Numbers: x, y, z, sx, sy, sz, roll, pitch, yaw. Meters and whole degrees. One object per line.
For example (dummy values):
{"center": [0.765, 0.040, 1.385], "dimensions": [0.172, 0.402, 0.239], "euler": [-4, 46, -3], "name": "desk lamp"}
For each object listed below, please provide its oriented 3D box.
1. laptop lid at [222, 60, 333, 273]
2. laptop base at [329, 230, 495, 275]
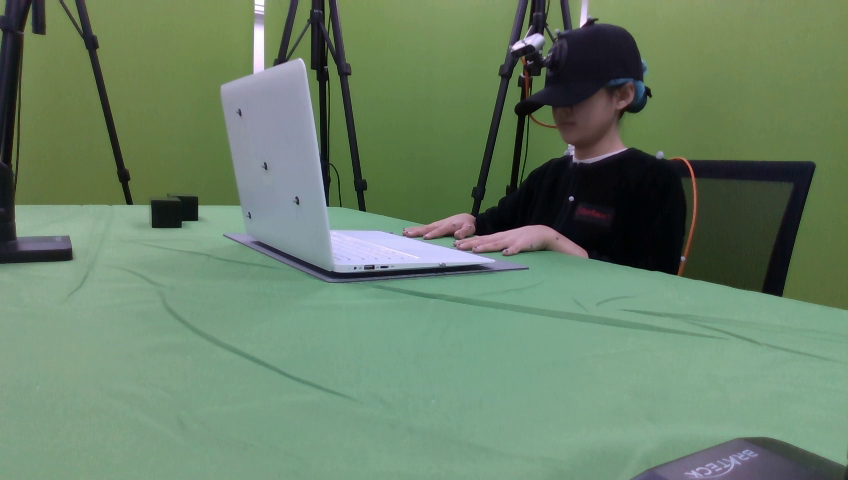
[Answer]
{"center": [-0.205, -0.098, 0.795], "dimensions": [0.013, 0.241, 0.355], "euler": [-13, 16, -30], "name": "laptop lid"}
{"center": [-0.093, 0.015, 0.883], "dimensions": [0.237, 0.023, 0.352], "euler": [3, 6, -33], "name": "laptop base"}
